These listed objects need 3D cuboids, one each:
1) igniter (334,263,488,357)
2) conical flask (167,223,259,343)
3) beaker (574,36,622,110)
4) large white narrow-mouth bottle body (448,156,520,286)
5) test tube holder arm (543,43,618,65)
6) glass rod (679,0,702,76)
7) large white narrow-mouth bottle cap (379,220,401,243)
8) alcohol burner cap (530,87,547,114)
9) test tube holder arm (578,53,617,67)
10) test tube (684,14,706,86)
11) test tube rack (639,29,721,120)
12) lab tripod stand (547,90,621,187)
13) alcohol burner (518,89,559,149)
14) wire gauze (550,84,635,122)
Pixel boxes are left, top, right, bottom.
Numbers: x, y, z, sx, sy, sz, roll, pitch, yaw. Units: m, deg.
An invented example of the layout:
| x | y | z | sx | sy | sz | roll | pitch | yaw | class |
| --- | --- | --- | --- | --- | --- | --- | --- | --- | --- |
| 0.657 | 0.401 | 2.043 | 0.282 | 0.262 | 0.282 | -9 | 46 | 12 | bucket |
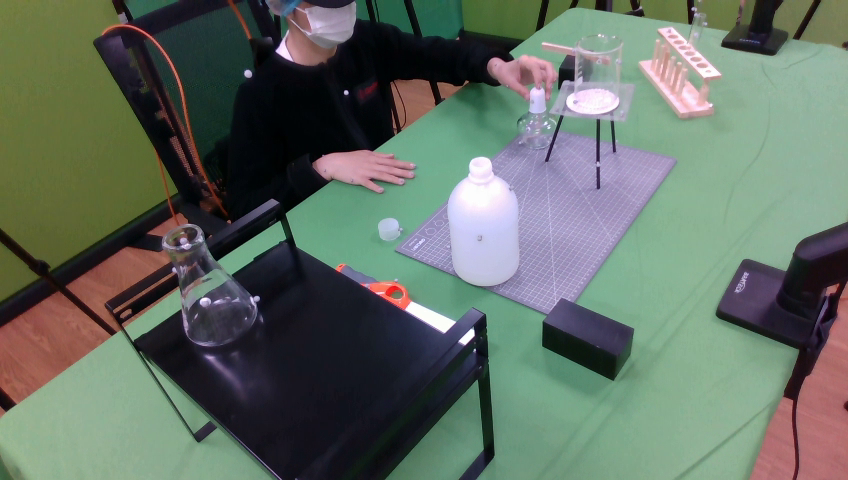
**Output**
| x | y | z | sx | sy | sz | roll | pitch | yaw | class |
| --- | --- | --- | --- | --- | --- | --- | --- | --- | --- |
| -0.030 | 0.095 | 0.872 | 0.274 | 0.025 | 0.057 | 23 | 60 | 31 | igniter |
| -0.220 | 0.041 | 0.613 | 0.075 | 0.122 | 0.075 | -5 | 40 | 4 | conical flask |
| 0.285 | -0.273 | 0.990 | 0.073 | 0.101 | 0.084 | 15 | 46 | 27 | beaker |
| 0.086 | -0.032 | 0.869 | 0.102 | 0.195 | 0.101 | -4 | 40 | 4 | large white narrow-mouth bottle body |
| 0.345 | -0.413 | 1.341 | 0.177 | 0.015 | 0.013 | 25 | 50 | 32 | test tube holder arm |
| 0.543 | -0.417 | 1.233 | 0.008 | 0.200 | 0.008 | 1 | 39 | 0 | glass rod |
| -0.057 | -0.015 | 1.012 | 0.038 | 0.024 | 0.037 | -4 | 40 | 4 | large white narrow-mouth bottle cap |
| 0.213 | -0.262 | 1.126 | 0.034 | 0.048 | 0.033 | -6 | 38 | 5 | alcohol burner cap |
| 0.376 | -0.393 | 1.314 | 0.087 | 0.015 | 0.010 | 26 | 51 | 32 | test tube holder arm |
| 0.540 | -0.378 | 1.215 | 0.017 | 0.151 | 0.017 | -2 | 44 | 3 | test tube |
| 0.527 | -0.351 | 1.262 | 0.067 | 0.085 | 0.241 | -8 | 40 | 1 | test tube rack |
| 0.289 | -0.184 | 1.062 | 0.148 | 0.132 | 0.147 | -6 | 41 | 6 | lab tripod stand |
| 0.218 | -0.235 | 1.149 | 0.078 | 0.119 | 0.077 | -5 | 43 | 5 | alcohol burner |
| 0.285 | -0.234 | 1.021 | 0.124 | 0.011 | 0.121 | 8 | 41 | 23 | wire gauze |
